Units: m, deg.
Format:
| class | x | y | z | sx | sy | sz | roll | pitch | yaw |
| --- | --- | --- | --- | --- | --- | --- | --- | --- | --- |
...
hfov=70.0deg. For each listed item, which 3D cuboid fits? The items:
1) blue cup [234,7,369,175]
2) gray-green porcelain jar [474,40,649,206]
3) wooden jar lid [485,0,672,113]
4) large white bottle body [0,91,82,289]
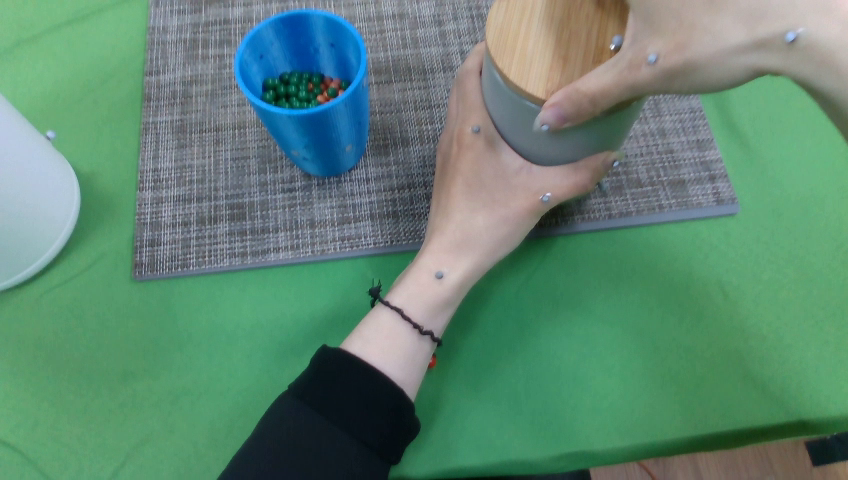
| class | x | y | z | sx | sy | sz | roll | pitch | yaw |
| --- | --- | --- | --- | --- | --- | --- | --- | --- | --- |
| blue cup | -0.077 | -0.096 | 0.432 | 0.092 | 0.101 | 0.092 | 0 | 67 | 1 |
| gray-green porcelain jar | 0.089 | -0.091 | 0.418 | 0.106 | 0.127 | 0.105 | 0 | 66 | 0 |
| wooden jar lid | 0.090 | -0.117 | 0.360 | 0.108 | 0.021 | 0.107 | 0 | 64 | 1 |
| large white bottle body | -0.318 | -0.055 | 0.368 | 0.130 | 0.186 | 0.129 | 0 | 66 | -1 |
